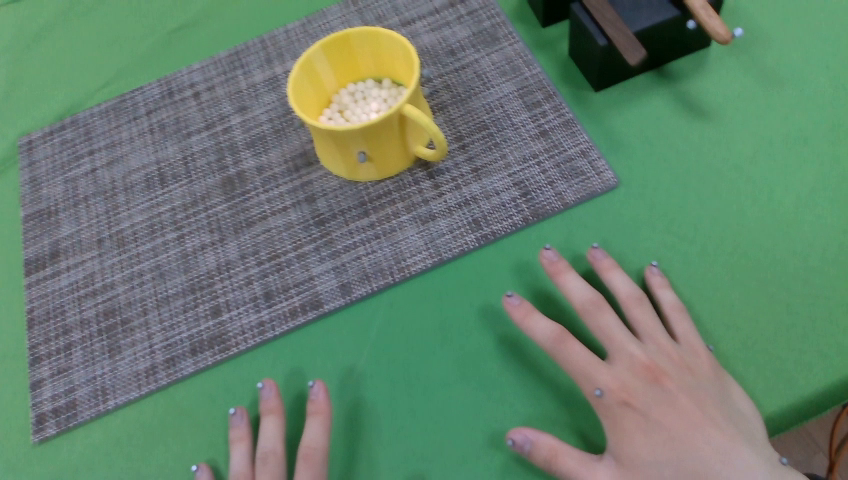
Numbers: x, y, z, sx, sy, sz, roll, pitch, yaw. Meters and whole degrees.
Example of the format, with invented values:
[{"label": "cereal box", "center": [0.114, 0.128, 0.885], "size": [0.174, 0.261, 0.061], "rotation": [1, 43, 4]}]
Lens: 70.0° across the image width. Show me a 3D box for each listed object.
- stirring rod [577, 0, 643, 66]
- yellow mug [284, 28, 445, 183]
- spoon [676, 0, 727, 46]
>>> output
[{"label": "stirring rod", "center": [0.117, -0.193, 0.460], "size": [0.014, 0.006, 0.174], "rotation": [-43, 55, 31]}, {"label": "yellow mug", "center": [-0.037, -0.097, 0.462], "size": [0.130, 0.064, 0.099], "rotation": [31, 72, 23]}, {"label": "spoon", "center": [0.169, -0.216, 0.460], "size": [0.041, 0.022, 0.192], "rotation": [-23, 63, -3]}]
